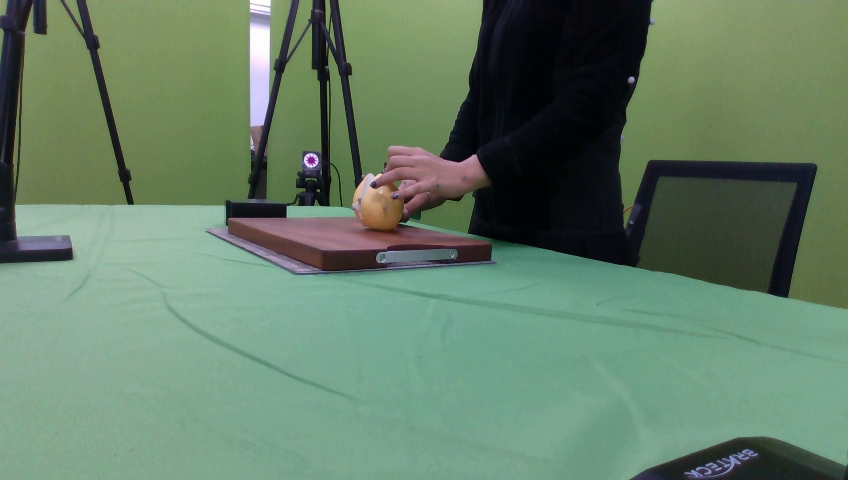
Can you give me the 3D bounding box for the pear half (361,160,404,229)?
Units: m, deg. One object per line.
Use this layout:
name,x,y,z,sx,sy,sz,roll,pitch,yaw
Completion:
pear half,-0.059,-0.071,0.968,0.056,0.110,0.076,12,16,25

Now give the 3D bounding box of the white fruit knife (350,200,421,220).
white fruit knife,-0.060,-0.054,1.025,0.016,0.027,0.208,9,3,30

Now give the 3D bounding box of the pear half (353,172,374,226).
pear half,-0.097,-0.067,0.987,0.031,0.088,0.070,3,15,26
